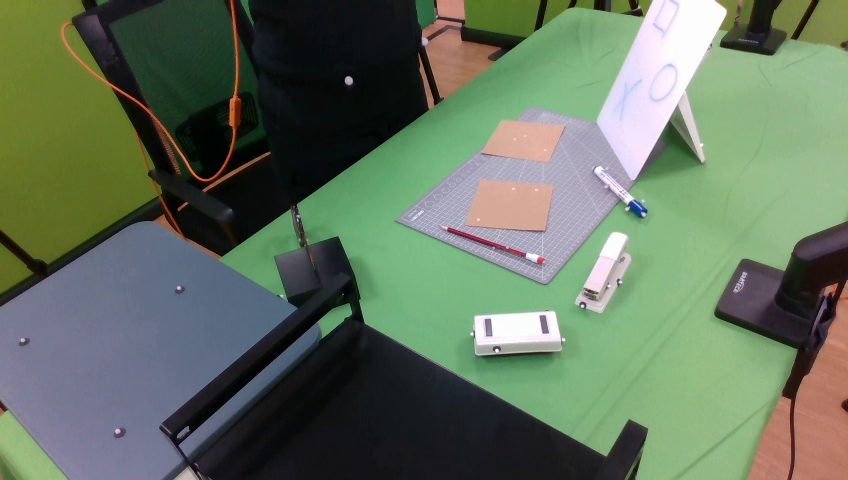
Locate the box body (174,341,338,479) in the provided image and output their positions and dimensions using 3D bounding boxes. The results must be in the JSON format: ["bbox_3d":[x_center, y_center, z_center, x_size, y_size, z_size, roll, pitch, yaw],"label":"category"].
[{"bbox_3d":[-0.311,0.165,0.720,0.361,0.161,0.255,23,49,32],"label":"box body"}]

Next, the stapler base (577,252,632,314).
[{"bbox_3d":[0.264,0.051,0.875,0.041,0.024,0.131,16,47,30],"label":"stapler base"}]

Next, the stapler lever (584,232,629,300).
[{"bbox_3d":[0.260,0.034,0.858,0.026,0.040,0.118,16,46,30],"label":"stapler lever"}]

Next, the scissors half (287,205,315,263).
[{"bbox_3d":[-0.191,-0.010,0.945,0.013,0.040,0.173,-19,38,-15],"label":"scissors half"}]

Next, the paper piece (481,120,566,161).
[{"bbox_3d":[0.197,-0.199,1.188,0.135,0.004,0.135,11,44,21],"label":"paper piece"}]

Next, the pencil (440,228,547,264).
[{"bbox_3d":[0.105,0.006,0.958,0.192,0.012,0.012,18,46,30],"label":"pencil"}]

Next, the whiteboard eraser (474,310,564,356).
[{"bbox_3d":[0.123,0.125,0.794,0.113,0.042,0.055,-5,38,3],"label":"whiteboard eraser"}]

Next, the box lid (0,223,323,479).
[{"bbox_3d":[-0.318,0.109,0.671,0.368,0.015,0.264,24,50,31],"label":"box lid"}]

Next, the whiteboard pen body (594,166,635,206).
[{"bbox_3d":[0.330,-0.085,1.027,0.017,0.017,0.139,-17,41,-10],"label":"whiteboard pen body"}]

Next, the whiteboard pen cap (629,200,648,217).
[{"bbox_3d":[0.348,-0.052,0.984,0.018,0.018,0.033,-18,41,-12],"label":"whiteboard pen cap"}]

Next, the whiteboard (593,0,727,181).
[{"bbox_3d":[0.452,-0.272,1.056,0.144,0.305,0.216,9,38,-12],"label":"whiteboard"}]

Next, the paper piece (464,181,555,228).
[{"bbox_3d":[0.149,-0.062,1.034,0.137,0.009,0.136,4,37,17],"label":"paper piece"}]

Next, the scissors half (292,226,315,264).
[{"bbox_3d":[-0.188,0.007,0.955,0.013,0.040,0.174,-24,22,-11],"label":"scissors half"}]
